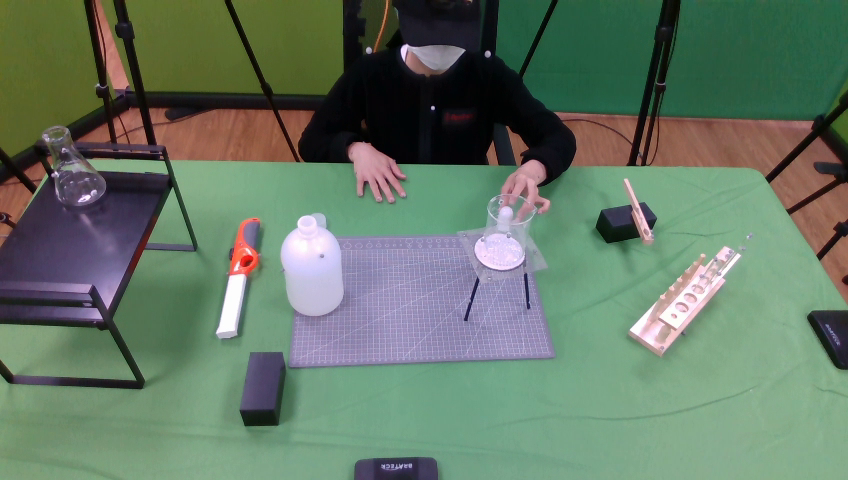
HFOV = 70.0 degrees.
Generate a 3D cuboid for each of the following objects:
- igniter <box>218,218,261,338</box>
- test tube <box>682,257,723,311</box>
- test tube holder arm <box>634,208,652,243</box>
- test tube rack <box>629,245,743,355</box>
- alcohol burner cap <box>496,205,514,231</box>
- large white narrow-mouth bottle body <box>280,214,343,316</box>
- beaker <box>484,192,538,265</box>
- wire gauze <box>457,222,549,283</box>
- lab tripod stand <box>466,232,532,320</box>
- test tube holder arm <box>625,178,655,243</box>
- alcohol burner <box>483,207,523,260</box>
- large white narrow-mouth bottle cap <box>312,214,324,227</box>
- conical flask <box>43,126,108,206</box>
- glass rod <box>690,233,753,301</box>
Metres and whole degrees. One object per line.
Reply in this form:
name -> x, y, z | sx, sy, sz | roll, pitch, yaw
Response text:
igniter -> -0.336, 0.060, 1.111 | 0.057, 0.025, 0.274 | -8, 46, 4
test tube -> 0.475, 0.080, 1.037 | 0.017, 0.151, 0.017 | 1, 51, -1
test tube holder arm -> 0.428, -0.030, 1.189 | 0.010, 0.015, 0.087 | 2, 47, -3
test tube rack -> 0.474, 0.095, 1.091 | 0.242, 0.085, 0.066 | -34, 56, -31
alcohol burner cap -> 0.153, -0.045, 1.131 | 0.034, 0.048, 0.033 | 2, 40, -1
large white narrow-mouth bottle body -> -0.190, 0.035, 1.025 | 0.102, 0.195, 0.101 | 2, 46, -2
beaker -> 0.137, -0.016, 0.980 | 0.084, 0.101, 0.073 | -6, 45, -9
wire gauze -> 0.131, 0.016, 1.017 | 0.121, 0.011, 0.124 | -10, 44, -16
lab tripod stand -> 0.125, 0.059, 1.065 | 0.148, 0.132, 0.147 | 1, 45, 0
test tube holder arm -> 0.433, -0.062, 1.220 | 0.013, 0.015, 0.177 | 2, 47, -3
alcohol burner -> 0.152, -0.018, 1.156 | 0.078, 0.120, 0.077 | 0, 47, 0
large white narrow-mouth bottle cap -> -0.219, -0.033, 1.214 | 0.038, 0.024, 0.037 | 2, 46, -2
conical flask -> -0.555, -0.119, 0.953 | 0.075, 0.122, 0.075 | 2, 46, -2
glass rod -> 0.507, 0.053, 1.041 | 0.008, 0.200, 0.008 | 5, 51, -6
